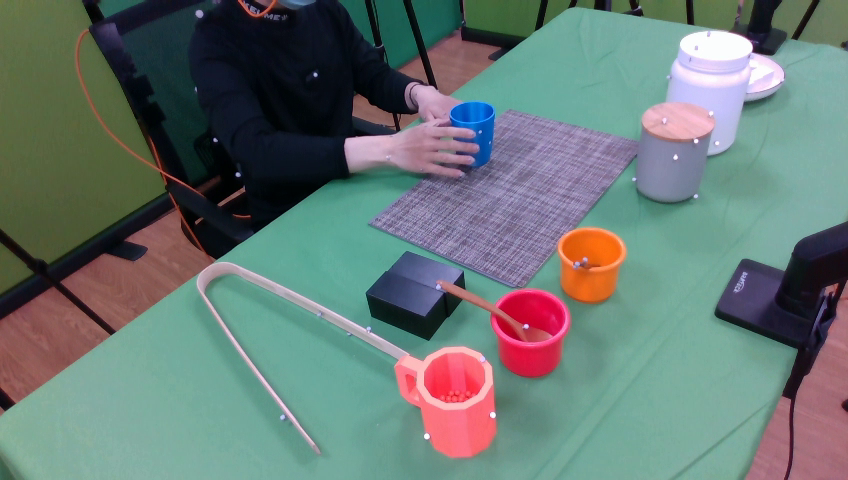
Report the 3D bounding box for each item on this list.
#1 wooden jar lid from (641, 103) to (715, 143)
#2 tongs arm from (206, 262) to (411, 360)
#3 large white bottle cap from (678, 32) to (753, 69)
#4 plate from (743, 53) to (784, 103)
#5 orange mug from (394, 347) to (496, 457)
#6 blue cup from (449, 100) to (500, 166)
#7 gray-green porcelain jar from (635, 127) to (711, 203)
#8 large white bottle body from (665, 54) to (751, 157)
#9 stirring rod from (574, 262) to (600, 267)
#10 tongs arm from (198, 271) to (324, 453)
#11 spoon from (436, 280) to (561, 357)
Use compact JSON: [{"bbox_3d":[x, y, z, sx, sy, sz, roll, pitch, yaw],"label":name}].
[{"bbox_3d":[0.398,-0.180,0.952,0.108,0.021,0.108,-4,43,4],"label":"wooden jar lid"},{"bbox_3d":[-0.179,0.106,0.870,0.382,0.027,0.051,23,55,32],"label":"tongs arm"},{"bbox_3d":[0.491,-0.321,1.021,0.115,0.018,0.114,-4,41,4],"label":"large white bottle cap"},{"bbox_3d":[0.631,-0.336,1.262,0.207,0.039,0.206,-4,41,4],"label":"plate"},{"bbox_3d":[0.024,0.181,0.703,0.125,0.101,0.083,20,48,23],"label":"orange mug"},{"bbox_3d":[0.092,-0.194,1.123,0.092,0.100,0.092,-3,39,3],"label":"blue cup"},{"bbox_3d":[0.404,-0.133,0.992,0.106,0.127,0.105,-4,40,4],"label":"gray-green porcelain jar"},{"bbox_3d":[0.500,-0.257,1.076,0.130,0.185,0.130,-4,41,4],"label":"large white bottle body"},{"bbox_3d":[0.222,0.033,0.816,0.014,0.006,0.177,6,0,22],"label":"stirring rod"},{"bbox_3d":[-0.236,0.154,0.831,0.028,0.028,0.384,-37,48,-18],"label":"tongs arm"},{"bbox_3d":[0.096,0.095,0.757,0.195,0.021,0.041,34,40,-20],"label":"spoon"}]
